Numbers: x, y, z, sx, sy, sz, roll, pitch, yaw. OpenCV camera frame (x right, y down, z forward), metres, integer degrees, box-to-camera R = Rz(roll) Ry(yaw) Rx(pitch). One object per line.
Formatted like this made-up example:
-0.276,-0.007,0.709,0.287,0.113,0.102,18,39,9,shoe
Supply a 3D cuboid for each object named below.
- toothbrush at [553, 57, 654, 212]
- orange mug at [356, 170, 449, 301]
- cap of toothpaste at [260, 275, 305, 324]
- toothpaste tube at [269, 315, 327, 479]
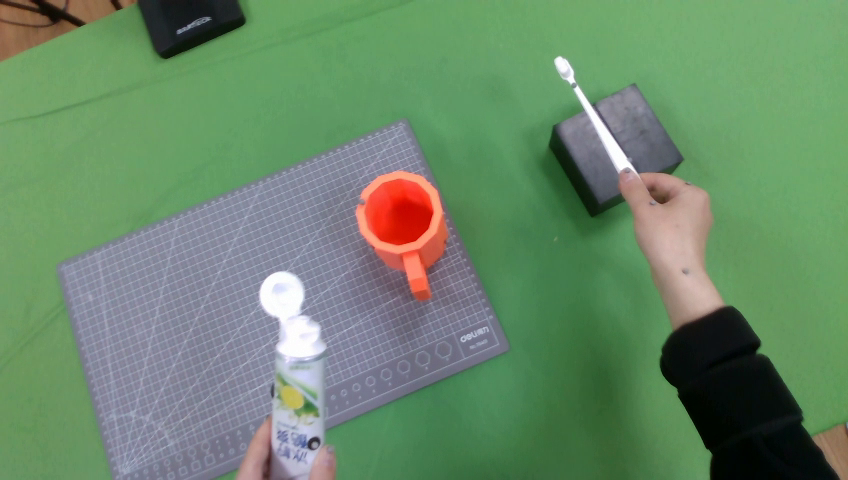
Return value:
0.170,-0.104,0.578,0.014,0.017,0.180,-32,71,18,toothbrush
-0.016,0.000,0.637,0.083,0.101,0.125,-15,71,2,orange mug
-0.101,0.043,0.441,0.037,0.011,0.037,6,81,-38,cap of toothpaste
-0.094,0.133,0.447,0.055,0.034,0.165,10,105,26,toothpaste tube
